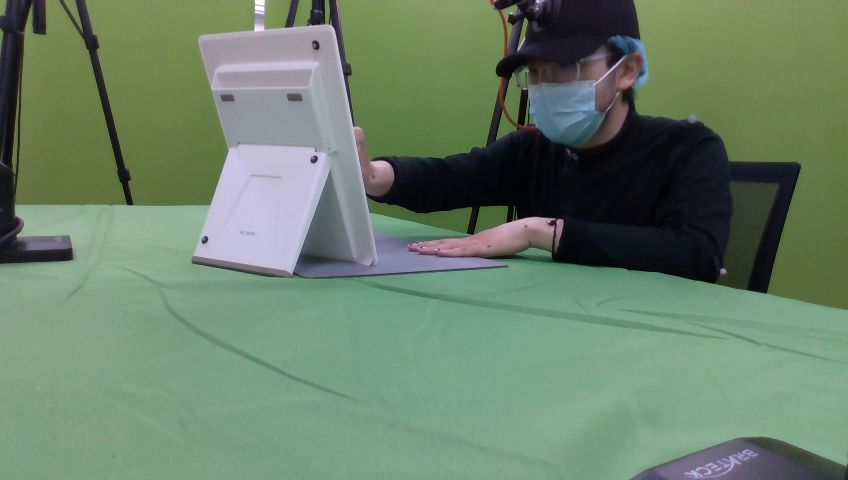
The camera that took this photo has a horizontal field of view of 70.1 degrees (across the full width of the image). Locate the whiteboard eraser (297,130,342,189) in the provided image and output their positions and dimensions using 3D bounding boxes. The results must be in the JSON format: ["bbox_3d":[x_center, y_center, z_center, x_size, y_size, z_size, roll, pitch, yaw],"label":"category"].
[{"bbox_3d":[-0.144,-0.105,0.816,0.042,0.055,0.112,-29,1,-18],"label":"whiteboard eraser"}]

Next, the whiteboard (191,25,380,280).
[{"bbox_3d":[-0.206,-0.085,0.732,0.216,0.305,0.144,7,30,30],"label":"whiteboard"}]
